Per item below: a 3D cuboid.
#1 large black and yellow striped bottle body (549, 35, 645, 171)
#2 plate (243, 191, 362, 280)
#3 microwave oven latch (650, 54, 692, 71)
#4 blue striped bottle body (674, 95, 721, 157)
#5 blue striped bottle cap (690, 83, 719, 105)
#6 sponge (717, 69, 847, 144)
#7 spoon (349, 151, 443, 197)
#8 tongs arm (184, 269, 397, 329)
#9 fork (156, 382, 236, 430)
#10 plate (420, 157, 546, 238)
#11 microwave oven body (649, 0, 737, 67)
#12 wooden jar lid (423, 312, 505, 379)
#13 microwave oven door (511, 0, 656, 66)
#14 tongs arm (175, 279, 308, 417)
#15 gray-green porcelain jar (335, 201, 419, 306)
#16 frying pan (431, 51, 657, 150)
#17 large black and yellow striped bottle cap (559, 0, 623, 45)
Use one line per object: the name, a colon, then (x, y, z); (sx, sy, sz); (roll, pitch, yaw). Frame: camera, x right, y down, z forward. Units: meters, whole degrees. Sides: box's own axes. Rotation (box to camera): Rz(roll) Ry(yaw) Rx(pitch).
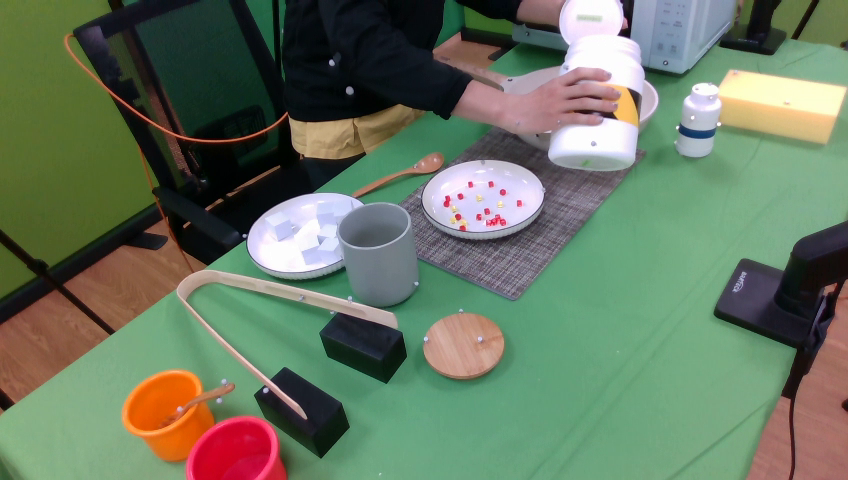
large black and yellow striped bottle body: (0.270, -0.210, 0.940); (0.131, 0.183, 0.131); (7, -2, 1)
plate: (-0.187, -0.005, 0.992); (0.207, 0.039, 0.206); (-4, 41, 4)
microwave oven latch: (0.530, -0.386, 1.301); (0.078, 0.029, 0.030); (23, 50, 32)
blue striped bottle body: (0.486, -0.213, 1.072); (0.063, 0.121, 0.063); (-4, 41, 4)
blue striped bottle cap: (0.481, -0.251, 1.038); (0.044, 0.021, 0.044); (-5, 40, 5)
sponge: (0.663, -0.256, 1.141); (0.205, 0.061, 0.118); (19, 47, 27)
spoon: (-0.051, -0.122, 1.120); (0.194, 0.022, 0.041); (-22, 60, -18)
tongs arm: (-0.203, 0.085, 0.847); (0.382, 0.027, 0.051); (11, 44, 35)
fork: (-0.262, 0.189, 0.690); (0.018, 0.206, 0.028); (49, 43, -7)
plate: (0.099, -0.067, 1.017); (0.209, 0.038, 0.208); (-4, 40, 4)
microwave oven body: (0.475, -0.602, 1.411); (0.438, 0.261, 0.327); (23, 50, 32)
wooden jar lid: (0.053, 0.142, 0.800); (0.108, 0.021, 0.108); (-5, 39, 4)
microwave oven door: (0.351, -0.541, 1.350); (0.353, 0.245, 0.039); (24, 51, 31)
tongs arm: (-0.255, 0.132, 0.800); (0.028, 0.028, 0.384); (-40, 40, -24)
gray-green porcelain jar: (-0.064, 0.024, 0.872); (0.106, 0.127, 0.105); (-4, 41, 4)
frying pan: (0.216, -0.303, 1.223); (0.484, 0.103, 0.308); (30, 50, 24)
large black and yellow striped bottle cap: (0.311, -0.413, 1.130); (0.115, 0.115, 0.019); (3, 20, 11)
